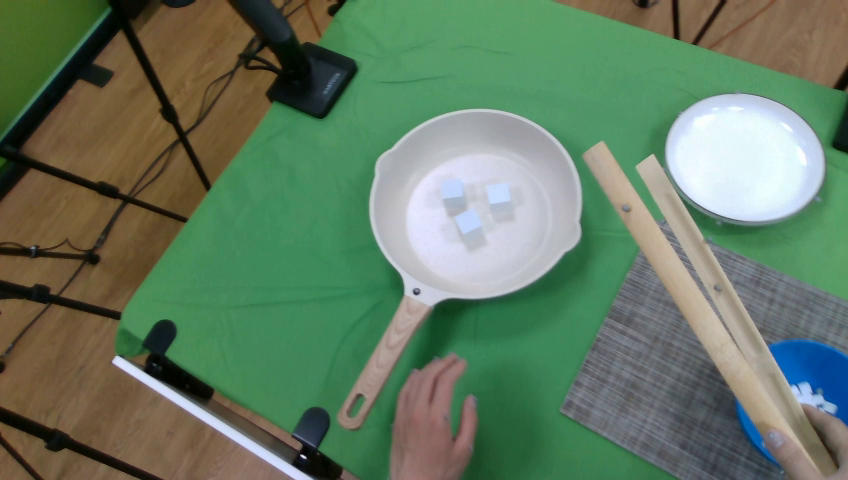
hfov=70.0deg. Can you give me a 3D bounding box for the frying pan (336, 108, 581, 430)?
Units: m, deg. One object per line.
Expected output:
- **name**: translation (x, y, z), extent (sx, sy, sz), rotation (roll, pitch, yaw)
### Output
- **frying pan**: translation (0.019, 0.032, 0.814), extent (0.305, 0.103, 0.486), rotation (24, 64, 18)

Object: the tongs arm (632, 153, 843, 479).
- **tongs arm**: translation (0.304, 0.071, 0.614), extent (0.026, 0.051, 0.381), rotation (-36, 66, 32)

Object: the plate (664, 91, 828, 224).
- **plate**: translation (0.443, -0.112, 0.847), extent (0.207, 0.039, 0.206), rotation (-3, 67, 8)

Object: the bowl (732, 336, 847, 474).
- **bowl**: translation (0.424, 0.193, 0.693), extent (0.151, 0.077, 0.150), rotation (-3, 67, 7)

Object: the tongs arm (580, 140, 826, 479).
- **tongs arm**: translation (0.256, 0.072, 0.554), extent (0.028, 0.028, 0.385), rotation (-36, 78, 28)
